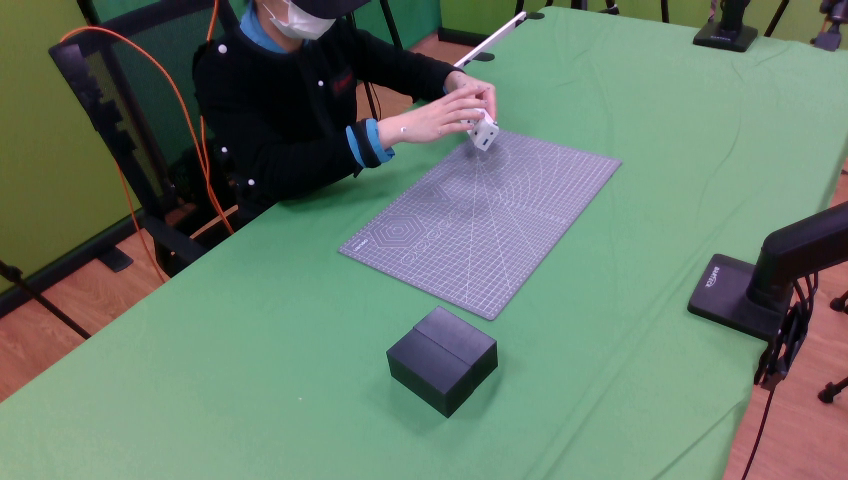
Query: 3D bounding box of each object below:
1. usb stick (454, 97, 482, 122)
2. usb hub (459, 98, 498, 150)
[{"bbox_3d":[0.086,-0.234,1.098,0.059,0.027,0.021,25,26,-25],"label":"usb stick"},{"bbox_3d":[0.101,-0.217,1.122,0.025,0.049,0.124,22,28,-27],"label":"usb hub"}]
